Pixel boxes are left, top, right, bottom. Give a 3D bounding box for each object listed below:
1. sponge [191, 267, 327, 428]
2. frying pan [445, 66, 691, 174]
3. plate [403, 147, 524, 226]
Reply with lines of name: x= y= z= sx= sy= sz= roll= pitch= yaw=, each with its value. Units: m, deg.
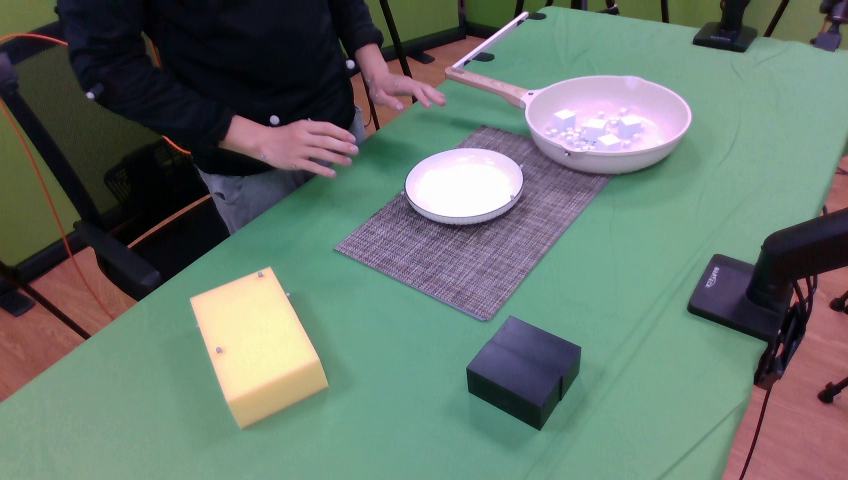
sponge: x=-0.226 y=0.135 z=0.814 sx=0.119 sy=0.061 sz=0.205 roll=-23 pitch=43 yaw=-19
frying pan: x=0.250 y=-0.258 z=1.165 sx=0.485 sy=0.103 sz=0.307 roll=27 pitch=48 yaw=22
plate: x=0.069 y=-0.089 z=1.044 sx=0.207 sy=0.039 sz=0.206 roll=-4 pitch=41 yaw=4
